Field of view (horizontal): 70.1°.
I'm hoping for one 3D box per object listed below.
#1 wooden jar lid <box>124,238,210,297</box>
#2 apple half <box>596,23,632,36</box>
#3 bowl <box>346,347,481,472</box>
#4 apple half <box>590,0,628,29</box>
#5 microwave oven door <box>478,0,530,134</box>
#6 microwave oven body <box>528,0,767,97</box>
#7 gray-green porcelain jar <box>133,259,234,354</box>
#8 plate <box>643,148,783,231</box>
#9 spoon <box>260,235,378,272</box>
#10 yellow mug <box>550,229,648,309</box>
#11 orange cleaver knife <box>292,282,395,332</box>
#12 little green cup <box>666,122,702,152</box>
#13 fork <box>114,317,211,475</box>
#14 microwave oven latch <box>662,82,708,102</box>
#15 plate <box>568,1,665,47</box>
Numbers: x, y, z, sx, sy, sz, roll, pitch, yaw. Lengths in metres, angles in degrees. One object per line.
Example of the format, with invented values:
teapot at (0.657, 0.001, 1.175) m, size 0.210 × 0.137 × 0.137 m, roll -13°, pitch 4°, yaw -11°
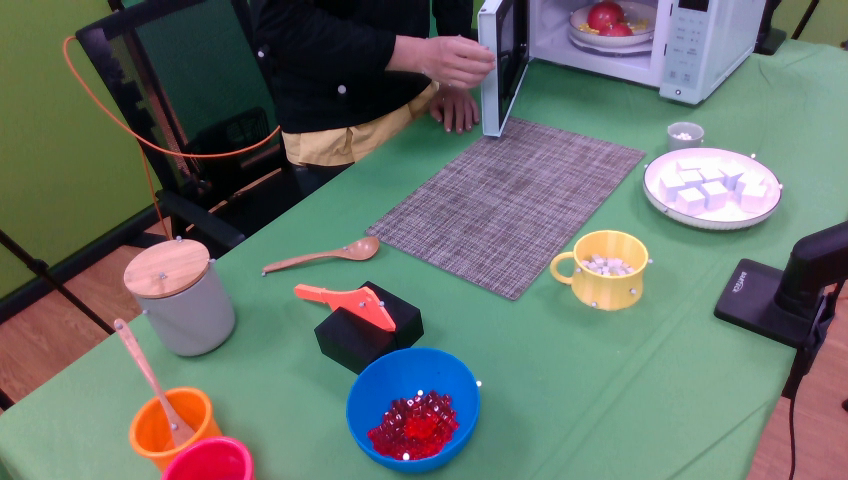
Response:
wooden jar lid at (-0.335, 0.039, 0.794) m, size 0.108 × 0.021 × 0.108 m, roll -2°, pitch 40°, yaw 2°
apple half at (0.417, -0.460, 1.328) m, size 0.081 × 0.033 × 0.081 m, roll -2°, pitch 38°, yaw 2°
bowl at (-0.008, 0.205, 0.691) m, size 0.151 × 0.077 × 0.150 m, roll -4°, pitch 40°, yaw 4°
apple half at (0.418, -0.522, 1.378) m, size 0.081 × 0.054 × 0.074 m, roll -41°, pitch 38°, yaw -16°
microwave oven door at (0.169, -0.412, 1.229) m, size 0.039 × 0.245 × 0.355 m, roll 7°, pitch 43°, yaw 16°
microwave oven body at (0.473, -0.516, 1.313) m, size 0.438 × 0.261 × 0.327 m, roll 26°, pitch 51°, yaw 34°
gray-green porcelain jar at (-0.328, 0.087, 0.836) m, size 0.106 × 0.127 × 0.105 m, roll -4°, pitch 41°, yaw 4°
plate at (0.464, -0.080, 0.986) m, size 0.207 × 0.039 × 0.206 m, roll -4°, pitch 40°, yaw 4°
spoon at (-0.167, 0.024, 0.966) m, size 0.194 × 0.022 × 0.041 m, roll -10°, pitch 57°, yaw -3°
yellow mug at (0.245, 0.040, 0.856) m, size 0.130 × 0.064 × 0.099 m, roll 1°, pitch 42°, yaw 11°
orange cleaver knife at (-0.116, 0.091, 0.835) m, size 0.209 × 0.077 × 0.012 m, roll 2°, pitch 32°, yaw 48°
little green cup at (0.471, -0.184, 1.102) m, size 0.061 × 0.039 × 0.061 m, roll -5°, pitch 41°, yaw 5°
fork at (-0.309, 0.180, 0.708) m, size 0.028 × 0.018 × 0.207 m, roll -29°, pitch 89°, yaw -26°
microwave oven latch at (0.517, -0.298, 1.202) m, size 0.078 × 0.029 × 0.030 m, roll 27°, pitch 52°, yaw 35°
plate at (0.431, -0.486, 1.367) m, size 0.209 × 0.038 × 0.208 m, roll -4°, pitch 41°, yaw 4°
